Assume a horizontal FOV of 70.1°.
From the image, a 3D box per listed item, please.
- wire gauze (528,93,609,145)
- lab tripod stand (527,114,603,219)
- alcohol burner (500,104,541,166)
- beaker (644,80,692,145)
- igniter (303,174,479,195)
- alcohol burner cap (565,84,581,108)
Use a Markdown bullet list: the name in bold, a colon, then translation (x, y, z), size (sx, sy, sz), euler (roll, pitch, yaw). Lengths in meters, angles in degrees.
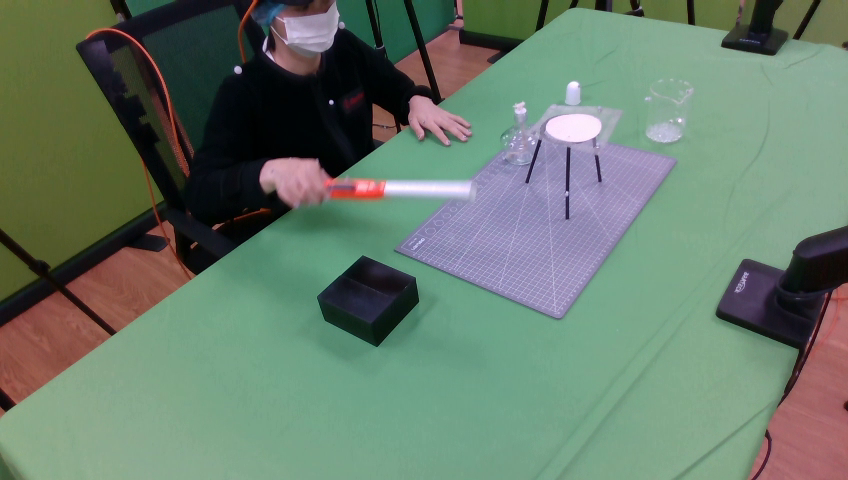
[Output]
- **wire gauze**: translation (0.225, -0.188, 0.943), size (0.121, 0.011, 0.124), euler (6, 48, 9)
- **lab tripod stand**: translation (0.234, -0.129, 1.002), size (0.148, 0.132, 0.147), euler (-6, 40, 6)
- **alcohol burner**: translation (0.178, -0.196, 1.106), size (0.078, 0.119, 0.077), euler (-5, 42, 5)
- **beaker**: translation (0.451, -0.233, 1.122), size (0.074, 0.101, 0.083), euler (-8, 40, 1)
- **igniter**: translation (-0.057, -0.078, 0.864), size (0.275, 0.057, 0.025), euler (1, 76, 22)
- **alcohol burner cap**: translation (0.315, -0.307, 1.278), size (0.034, 0.048, 0.033), euler (-5, 42, 5)
